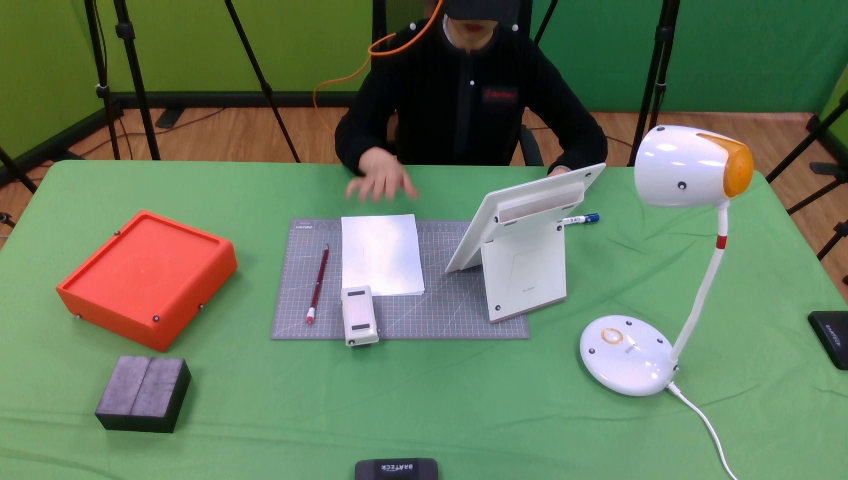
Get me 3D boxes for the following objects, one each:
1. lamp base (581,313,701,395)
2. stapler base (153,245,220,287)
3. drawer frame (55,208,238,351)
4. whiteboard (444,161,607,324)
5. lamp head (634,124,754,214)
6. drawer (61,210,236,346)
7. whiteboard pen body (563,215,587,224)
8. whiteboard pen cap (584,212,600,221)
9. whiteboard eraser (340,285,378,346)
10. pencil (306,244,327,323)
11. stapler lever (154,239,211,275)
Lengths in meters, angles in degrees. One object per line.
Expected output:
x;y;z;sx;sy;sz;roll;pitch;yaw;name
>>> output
0.361;0.144;0.973;0.178;0.181;0.160;34;53;23;lamp base
-0.436;0.042;1.108;0.130;0.024;0.041;23;50;15;stapler base
-0.474;0.062;1.059;0.201;0.083;0.213;18;48;12;drawer frame
0.186;0.025;1.029;0.217;0.306;0.143;-15;68;-18;whiteboard
0.351;-0.089;0.776;0.112;0.113;0.122;-30;30;-28;lamp head
-0.474;0.061;1.063;0.194;0.073;0.211;19;48;13;drawer
0.292;-0.040;1.261;0.141;0.017;0.017;-7;47;-11;whiteboard pen body
0.351;-0.049;1.271;0.033;0.018;0.018;-7;47;-11;whiteboard pen cap
-0.113;0.131;1.044;0.056;0.042;0.112;-5;47;-10;whiteboard eraser
-0.196;0.076;1.115;0.012;0.012;0.193;4;44;0;pencil
-0.436;0.027;1.090;0.118;0.040;0.027;24;50;14;stapler lever
